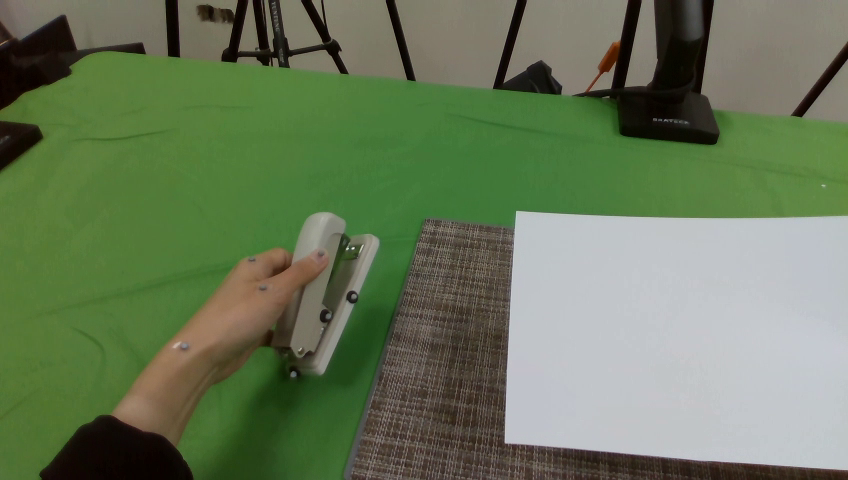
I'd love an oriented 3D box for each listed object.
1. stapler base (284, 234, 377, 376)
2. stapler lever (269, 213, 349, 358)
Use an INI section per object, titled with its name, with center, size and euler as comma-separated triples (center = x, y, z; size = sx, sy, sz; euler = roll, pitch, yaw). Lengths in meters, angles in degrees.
[stapler base]
center = -0.078, 0.045, 0.487
size = 0.041, 0.025, 0.130
euler = -5, 53, 39
[stapler lever]
center = -0.092, 0.031, 0.470
size = 0.026, 0.040, 0.117
euler = -5, 53, 39
